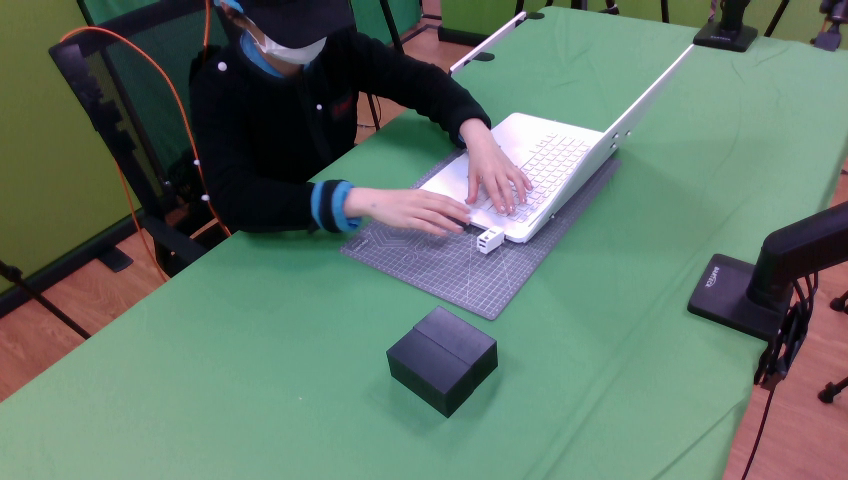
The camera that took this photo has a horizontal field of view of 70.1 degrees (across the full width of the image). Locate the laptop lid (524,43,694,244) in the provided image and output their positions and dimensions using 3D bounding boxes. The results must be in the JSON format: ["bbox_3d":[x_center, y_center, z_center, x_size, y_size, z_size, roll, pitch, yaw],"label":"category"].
[{"bbox_3d":[0.290,-0.151,0.941,0.013,0.241,0.358,40,54,12],"label":"laptop lid"}]

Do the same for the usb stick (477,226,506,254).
[{"bbox_3d":[0.107,-0.004,0.933,0.021,0.027,0.059,25,38,35],"label":"usb stick"}]

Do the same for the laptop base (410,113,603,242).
[{"bbox_3d":[0.171,-0.127,1.095,0.233,0.023,0.355,21,47,34],"label":"laptop base"}]
